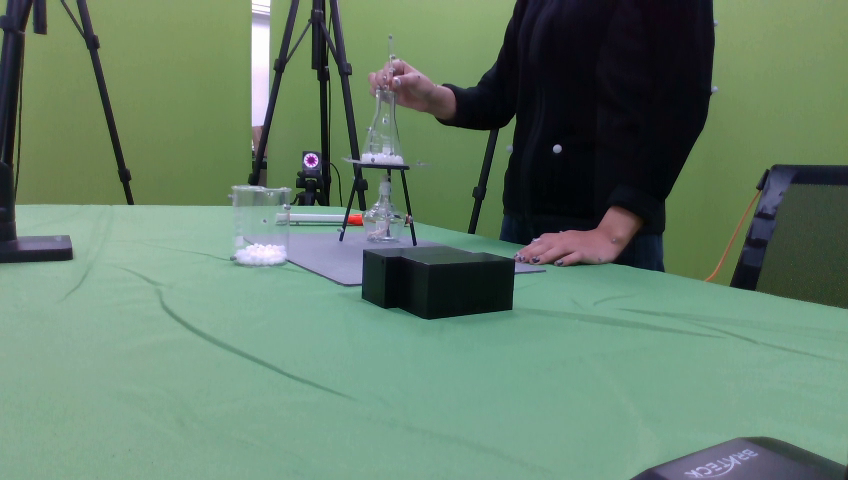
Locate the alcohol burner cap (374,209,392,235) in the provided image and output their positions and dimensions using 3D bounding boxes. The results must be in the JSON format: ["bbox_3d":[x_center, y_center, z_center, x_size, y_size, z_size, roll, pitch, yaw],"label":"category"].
[{"bbox_3d":[-0.078,-0.036,1.148,0.034,0.048,0.034,3,8,0],"label":"alcohol burner cap"}]

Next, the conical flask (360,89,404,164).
[{"bbox_3d":[-0.067,-0.189,1.010,0.075,0.122,0.075,4,6,0],"label":"conical flask"}]

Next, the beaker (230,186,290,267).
[{"bbox_3d":[-0.209,-0.019,0.778,0.074,0.100,0.084,3,6,4],"label":"beaker"}]

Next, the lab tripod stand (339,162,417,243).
[{"bbox_3d":[-0.067,-0.065,1.027,0.148,0.131,0.148,4,7,0],"label":"lab tripod stand"}]

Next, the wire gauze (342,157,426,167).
[{"bbox_3d":[-0.065,-0.130,1.017,0.122,0.011,0.124,2,5,-27],"label":"wire gauze"}]

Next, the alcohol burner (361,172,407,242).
[{"bbox_3d":[-0.067,-0.056,1.030,0.078,0.119,0.078,4,9,0],"label":"alcohol burner"}]

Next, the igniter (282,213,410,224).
[{"bbox_3d":[-0.159,-0.046,1.287,0.278,0.025,0.057,-1,-2,-22],"label":"igniter"}]

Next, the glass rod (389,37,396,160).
[{"bbox_3d":[-0.052,-0.233,1.002,0.008,0.199,0.008,-2,6,0],"label":"glass rod"}]
